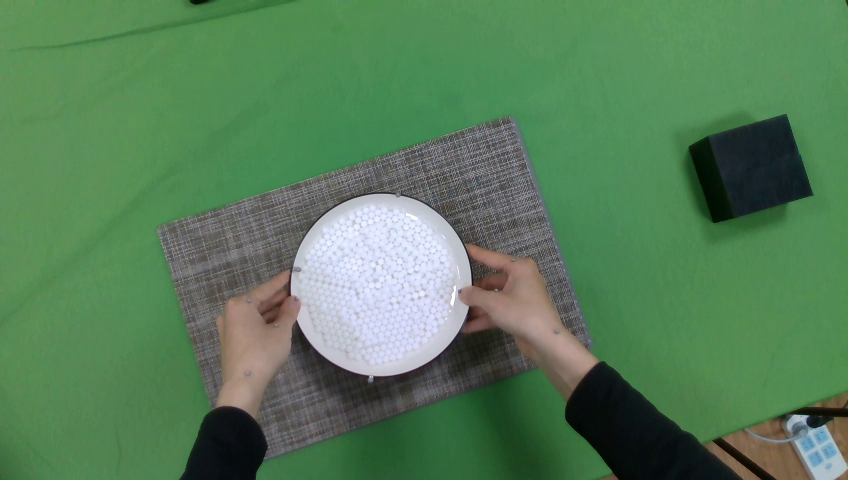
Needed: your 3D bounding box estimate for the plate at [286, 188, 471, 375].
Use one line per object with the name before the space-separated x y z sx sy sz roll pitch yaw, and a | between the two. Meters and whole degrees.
plate | -0.051 0.046 0.691 0.209 0.038 0.208 0 86 2
